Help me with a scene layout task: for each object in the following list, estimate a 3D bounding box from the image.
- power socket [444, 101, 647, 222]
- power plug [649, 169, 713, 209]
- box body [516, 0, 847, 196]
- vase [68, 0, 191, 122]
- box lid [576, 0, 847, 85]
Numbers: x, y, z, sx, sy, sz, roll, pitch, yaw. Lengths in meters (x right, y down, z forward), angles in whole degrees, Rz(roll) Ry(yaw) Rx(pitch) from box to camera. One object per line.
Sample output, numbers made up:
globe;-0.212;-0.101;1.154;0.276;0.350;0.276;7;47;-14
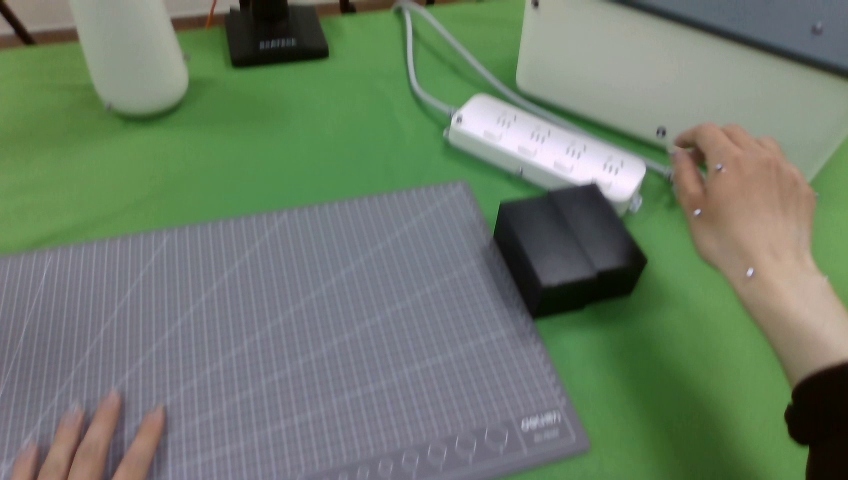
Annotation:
power socket;0.130;-0.089;0.653;0.225;0.033;0.072;28;52;19
power plug;0.267;-0.051;0.640;0.072;0.035;0.052;5;29;43
box body;0.315;-0.230;0.704;0.362;0.162;0.253;25;52;17
vase;-0.308;-0.223;0.625;0.098;0.201;0.097;3;47;-3
box lid;0.320;-0.278;0.648;0.369;0.015;0.262;25;52;17
